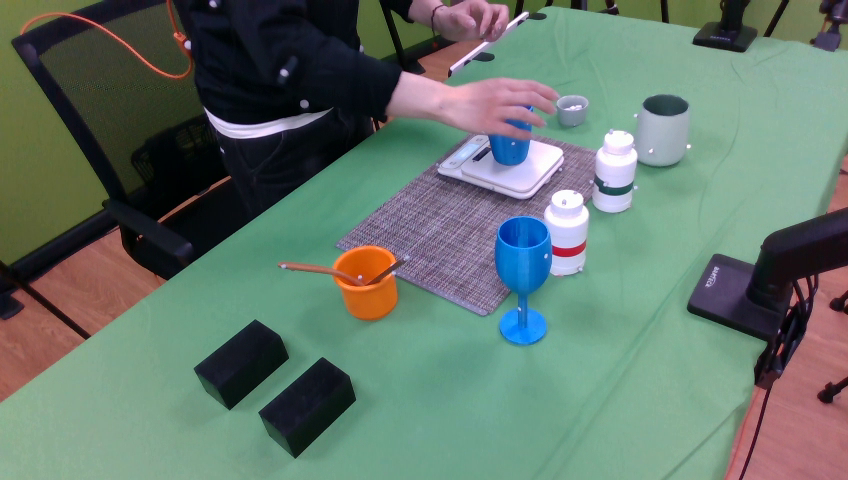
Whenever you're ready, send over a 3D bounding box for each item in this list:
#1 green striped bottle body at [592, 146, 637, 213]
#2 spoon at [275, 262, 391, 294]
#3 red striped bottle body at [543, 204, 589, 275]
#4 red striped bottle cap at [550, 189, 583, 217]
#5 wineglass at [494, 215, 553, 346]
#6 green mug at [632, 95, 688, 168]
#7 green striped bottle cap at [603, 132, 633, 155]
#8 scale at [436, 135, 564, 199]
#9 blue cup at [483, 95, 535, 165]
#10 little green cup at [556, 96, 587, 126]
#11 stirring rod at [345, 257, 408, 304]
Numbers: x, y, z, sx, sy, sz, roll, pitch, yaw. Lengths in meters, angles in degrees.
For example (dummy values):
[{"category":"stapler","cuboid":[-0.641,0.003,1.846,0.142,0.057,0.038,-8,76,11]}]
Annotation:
[{"category":"green striped bottle body","cuboid":[0.307,-0.108,0.976,0.063,0.120,0.063,-4,41,4]},{"category":"spoon","cuboid":[-0.120,0.050,0.830,0.041,0.195,0.021,32,98,45]},{"category":"red striped bottle body","cuboid":[0.206,-0.011,0.878,0.063,0.120,0.062,-5,41,4]},{"category":"red striped bottle cap","cuboid":[0.199,-0.052,0.843,0.044,0.018,0.044,-1,42,2]},{"category":"wineglass","cuboid":[0.127,0.055,0.770,0.074,0.173,0.073,-4,40,4]},{"category":"green mug","cuboid":[0.421,-0.201,1.081,0.092,0.105,0.125,5,42,15]},{"category":"green striped bottle cap","cuboid":[0.302,-0.149,0.938,0.044,0.020,0.044,-3,39,3]},{"category":"scale","cuboid":[0.137,-0.142,1.101,0.199,0.032,0.149,22,48,30]},{"category":"blue cup","cuboid":[0.149,-0.188,1.053,0.092,0.101,0.092,-6,39,5]},{"category":"little green cup","cuboid":[0.295,-0.258,1.214,0.061,0.039,0.061,-4,42,4]},{"category":"stirring rod","cuboid":[-0.067,0.057,0.815,0.014,0.175,0.006,-24,82,-38]}]
